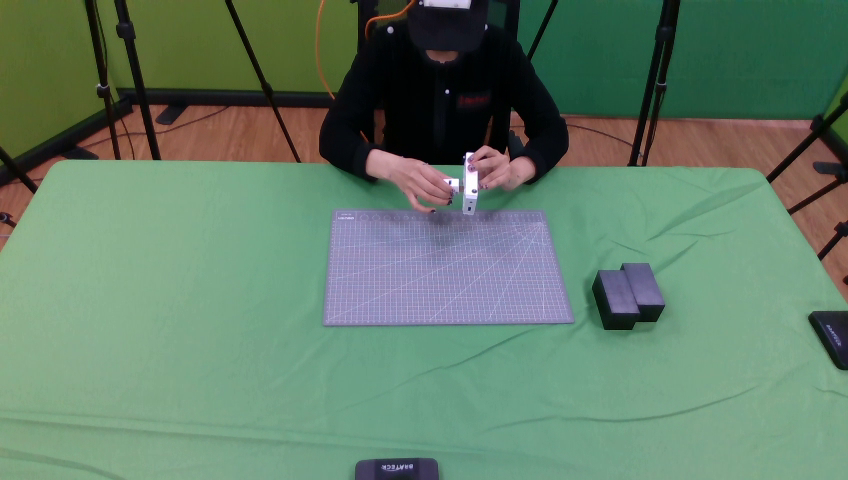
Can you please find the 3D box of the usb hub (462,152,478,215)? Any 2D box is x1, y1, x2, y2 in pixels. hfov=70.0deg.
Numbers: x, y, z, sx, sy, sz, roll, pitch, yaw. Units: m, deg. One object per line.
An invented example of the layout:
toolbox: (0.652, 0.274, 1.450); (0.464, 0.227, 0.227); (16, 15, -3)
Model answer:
usb hub: (0.090, -0.112, 1.186); (0.025, 0.050, 0.124); (5, 52, -2)

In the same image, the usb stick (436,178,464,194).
usb stick: (0.053, -0.106, 1.185); (0.059, 0.027, 0.021); (5, 61, 4)
